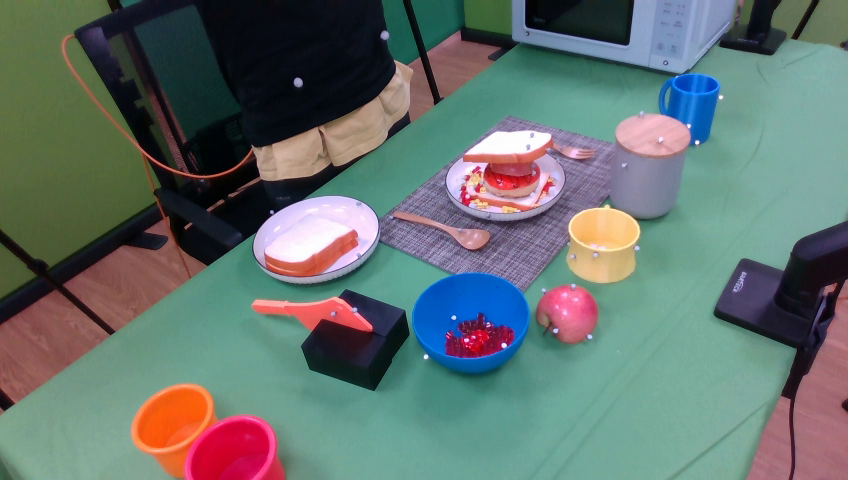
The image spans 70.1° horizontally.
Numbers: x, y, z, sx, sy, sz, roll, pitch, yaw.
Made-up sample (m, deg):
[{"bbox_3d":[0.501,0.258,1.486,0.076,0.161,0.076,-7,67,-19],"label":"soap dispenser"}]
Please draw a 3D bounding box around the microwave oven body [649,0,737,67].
[{"bbox_3d":[0.475,-0.602,1.411,0.438,0.261,0.327,23,50,32],"label":"microwave oven body"}]

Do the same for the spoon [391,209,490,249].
[{"bbox_3d":[0.023,-0.025,0.989,0.192,0.022,0.041,20,71,28],"label":"spoon"}]

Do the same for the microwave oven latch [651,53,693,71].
[{"bbox_3d":[0.532,-0.386,1.301,0.078,0.029,0.030,27,52,34],"label":"microwave oven latch"}]

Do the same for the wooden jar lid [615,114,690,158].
[{"bbox_3d":[0.347,-0.155,0.923,0.108,0.021,0.108,-3,44,4],"label":"wooden jar lid"}]

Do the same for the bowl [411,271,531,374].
[{"bbox_3d":[0.062,0.119,0.780,0.151,0.077,0.150,-4,40,4],"label":"bowl"}]

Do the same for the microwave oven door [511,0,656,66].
[{"bbox_3d":[0.351,-0.539,1.349,0.353,0.245,0.039,24,50,31],"label":"microwave oven door"}]

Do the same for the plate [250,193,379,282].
[{"bbox_3d":[-0.174,-0.001,0.984,0.209,0.038,0.208,-4,40,4],"label":"plate"}]

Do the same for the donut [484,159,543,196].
[{"bbox_3d":[0.150,-0.112,1.018,0.099,0.048,0.098,-5,40,4],"label":"donut"}]

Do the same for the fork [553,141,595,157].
[{"bbox_3d":[0.225,-0.186,1.151,0.206,0.019,0.028,20,62,27],"label":"fork"}]

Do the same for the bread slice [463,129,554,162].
[{"bbox_3d":[0.143,-0.154,0.974,0.130,0.019,0.105,9,35,38],"label":"bread slice"}]

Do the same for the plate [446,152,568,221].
[{"bbox_3d":[0.143,-0.097,1.045,0.207,0.039,0.206,-4,40,4],"label":"plate"}]

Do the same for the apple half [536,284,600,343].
[{"bbox_3d":[0.196,0.091,0.815,0.075,0.053,0.080,-22,42,-20],"label":"apple half"}]

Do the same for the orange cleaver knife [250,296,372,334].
[{"bbox_3d":[-0.159,0.103,0.828,0.210,0.078,0.012,-4,43,39],"label":"orange cleaver knife"}]

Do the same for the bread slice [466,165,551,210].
[{"bbox_3d":[0.141,-0.093,1.041,0.133,0.018,0.107,8,42,20],"label":"bread slice"}]

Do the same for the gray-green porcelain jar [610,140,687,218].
[{"bbox_3d":[0.354,-0.106,0.964,0.106,0.127,0.105,-4,41,4],"label":"gray-green porcelain jar"}]

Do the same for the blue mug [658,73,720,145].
[{"bbox_3d":[0.483,-0.250,1.127,0.082,0.106,0.115,-25,44,-19],"label":"blue mug"}]

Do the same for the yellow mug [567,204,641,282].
[{"bbox_3d":[0.268,-0.005,0.905,0.099,0.064,0.130,6,42,16],"label":"yellow mug"}]
